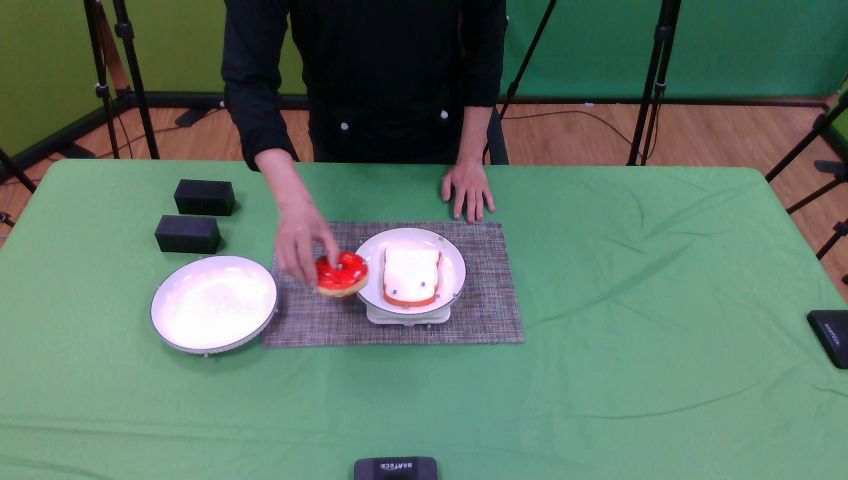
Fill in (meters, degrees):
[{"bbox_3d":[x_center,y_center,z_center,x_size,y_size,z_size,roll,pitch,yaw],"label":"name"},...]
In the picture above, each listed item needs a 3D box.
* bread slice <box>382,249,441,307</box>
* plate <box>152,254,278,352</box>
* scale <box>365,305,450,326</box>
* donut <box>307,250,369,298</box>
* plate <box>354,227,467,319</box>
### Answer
[{"bbox_3d":[-0.023,0.064,1.078,0.105,0.019,0.130,2,45,0],"label":"bread slice"},{"bbox_3d":[-0.357,0.111,1.052,0.208,0.039,0.206,2,46,-2],"label":"plate"},{"bbox_3d":[-0.032,0.071,1.113,0.149,0.032,0.199,0,46,-4],"label":"scale"},{"bbox_3d":[-0.135,0.051,0.957,0.099,0.048,0.098,-1,33,1],"label":"donut"},{"bbox_3d":[-0.029,0.061,1.077,0.209,0.038,0.208,2,46,-2],"label":"plate"}]
